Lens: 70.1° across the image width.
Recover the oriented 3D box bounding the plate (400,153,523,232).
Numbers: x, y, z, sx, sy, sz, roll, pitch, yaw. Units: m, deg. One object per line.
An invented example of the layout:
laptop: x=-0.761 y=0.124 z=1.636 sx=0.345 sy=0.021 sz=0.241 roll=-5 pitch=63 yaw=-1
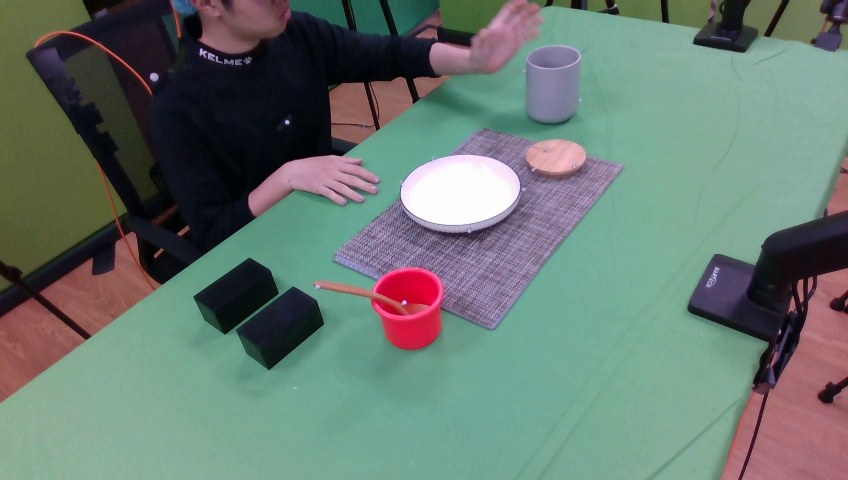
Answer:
plate: x=0.065 y=-0.078 z=1.034 sx=0.207 sy=0.039 sz=0.206 roll=-4 pitch=41 yaw=4

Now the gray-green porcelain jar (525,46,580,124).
gray-green porcelain jar: x=0.256 y=-0.305 z=1.209 sx=0.106 sy=0.127 sz=0.105 roll=-4 pitch=41 yaw=4

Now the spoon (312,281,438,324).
spoon: x=-0.060 y=0.078 z=0.793 sx=0.195 sy=0.021 sz=0.041 roll=24 pitch=25 yaw=-35

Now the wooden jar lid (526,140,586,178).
wooden jar lid: x=0.240 y=-0.147 z=1.103 sx=0.108 sy=0.021 sz=0.108 roll=-4 pitch=42 yaw=4
